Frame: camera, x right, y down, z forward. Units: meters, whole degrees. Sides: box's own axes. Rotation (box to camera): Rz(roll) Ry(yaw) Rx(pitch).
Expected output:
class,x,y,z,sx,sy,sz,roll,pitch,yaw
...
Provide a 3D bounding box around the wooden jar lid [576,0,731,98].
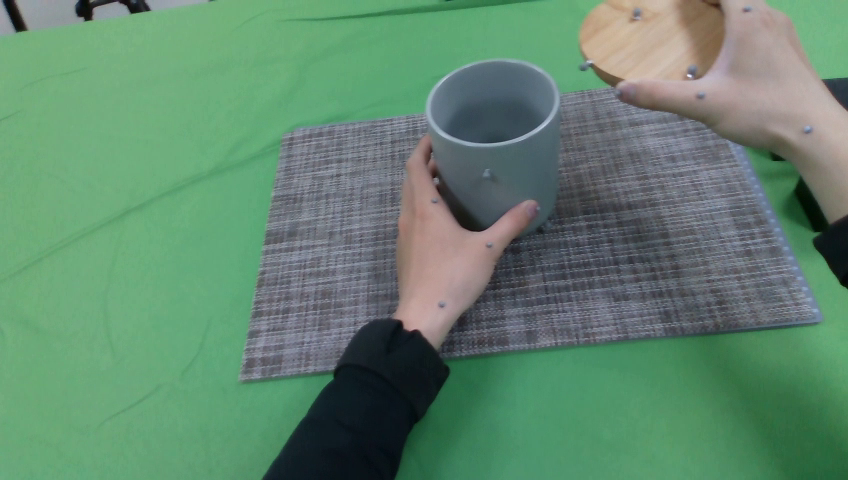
class,x,y,z,sx,sy,sz,roll,pitch,yaw
wooden jar lid,0.168,-0.144,0.450,0.108,0.021,0.107,-5,55,8

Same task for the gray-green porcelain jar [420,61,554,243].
class,x,y,z,sx,sy,sz,roll,pitch,yaw
gray-green porcelain jar,0.058,-0.068,0.517,0.106,0.128,0.105,-5,51,7
